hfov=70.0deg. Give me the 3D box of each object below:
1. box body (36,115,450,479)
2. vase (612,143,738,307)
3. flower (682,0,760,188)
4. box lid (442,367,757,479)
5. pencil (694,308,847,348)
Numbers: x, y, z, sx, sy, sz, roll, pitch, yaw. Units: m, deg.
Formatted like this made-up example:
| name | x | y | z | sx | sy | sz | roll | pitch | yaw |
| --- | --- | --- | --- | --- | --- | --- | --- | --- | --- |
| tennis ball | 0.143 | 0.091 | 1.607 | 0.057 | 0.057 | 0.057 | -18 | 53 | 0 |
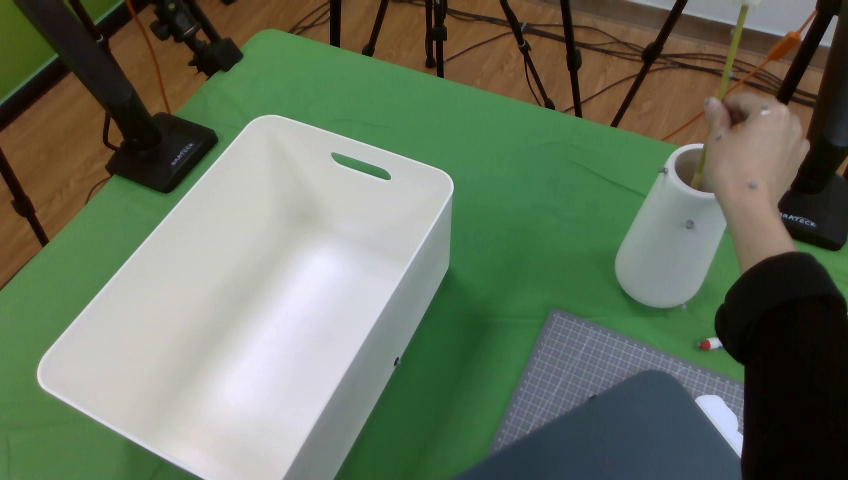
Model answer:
| name | x | y | z | sx | sy | sz | roll | pitch | yaw |
| --- | --- | --- | --- | --- | --- | --- | --- | --- | --- |
| box body | -0.151 | 0.071 | 0.640 | 0.253 | 0.162 | 0.362 | 20 | 59 | 17 |
| vase | 0.265 | -0.011 | 0.649 | 0.098 | 0.202 | 0.097 | -2 | 54 | 3 |
| flower | 0.254 | -0.093 | 0.552 | 0.043 | 0.365 | 0.038 | 28 | 46 | 30 |
| box lid | 0.154 | 0.298 | 0.557 | 0.372 | 0.015 | 0.260 | -25 | 58 | -12 |
| pencil | 0.396 | 0.097 | 0.682 | 0.194 | 0.012 | 0.012 | -11 | 55 | -6 |
